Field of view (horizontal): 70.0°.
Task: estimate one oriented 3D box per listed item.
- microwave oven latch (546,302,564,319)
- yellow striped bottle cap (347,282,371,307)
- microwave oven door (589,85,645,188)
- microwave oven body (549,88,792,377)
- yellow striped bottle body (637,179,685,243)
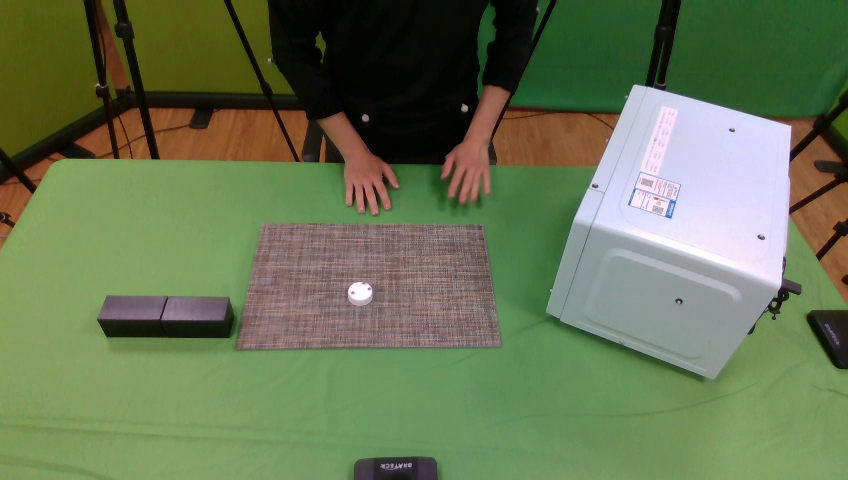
[{"bbox_3d":[0.242,0.102,1.081,0.030,0.029,0.079,21,48,17],"label":"microwave oven latch"},{"bbox_3d":[-0.117,0.098,1.093,0.044,0.019,0.044,3,46,-3],"label":"yellow striped bottle cap"},{"bbox_3d":[0.341,-0.107,1.149,0.039,0.245,0.354,20,48,15],"label":"microwave oven door"},{"bbox_3d":[0.456,-0.028,1.088,0.325,0.261,0.440,20,47,16],"label":"microwave oven body"},{"bbox_3d":[0.443,-0.057,1.126,0.063,0.121,0.062,1,47,-1],"label":"yellow striped bottle body"}]
